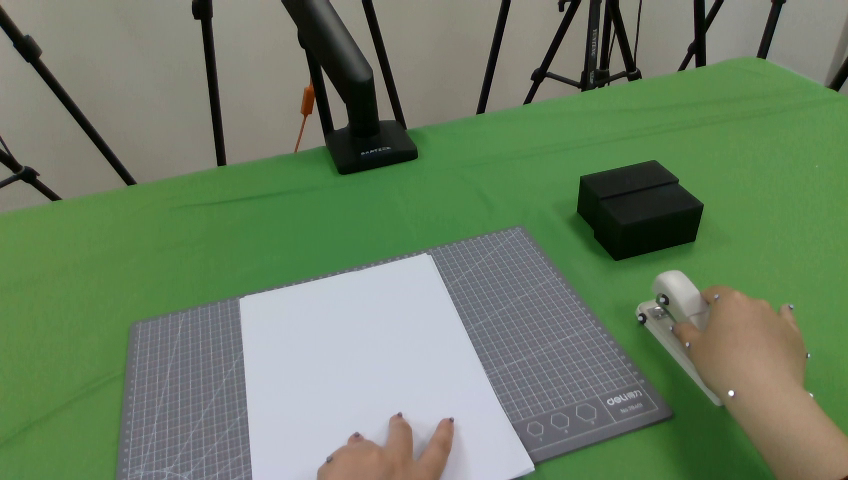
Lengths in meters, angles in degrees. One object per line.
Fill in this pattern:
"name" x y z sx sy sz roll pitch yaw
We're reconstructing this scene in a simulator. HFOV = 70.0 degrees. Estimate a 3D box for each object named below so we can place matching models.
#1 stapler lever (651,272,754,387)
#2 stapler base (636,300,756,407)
"stapler lever" 0.245 0.075 0.540 0.027 0.040 0.116 -16 40 -11
"stapler base" 0.246 0.094 0.557 0.041 0.024 0.129 -16 40 -11
